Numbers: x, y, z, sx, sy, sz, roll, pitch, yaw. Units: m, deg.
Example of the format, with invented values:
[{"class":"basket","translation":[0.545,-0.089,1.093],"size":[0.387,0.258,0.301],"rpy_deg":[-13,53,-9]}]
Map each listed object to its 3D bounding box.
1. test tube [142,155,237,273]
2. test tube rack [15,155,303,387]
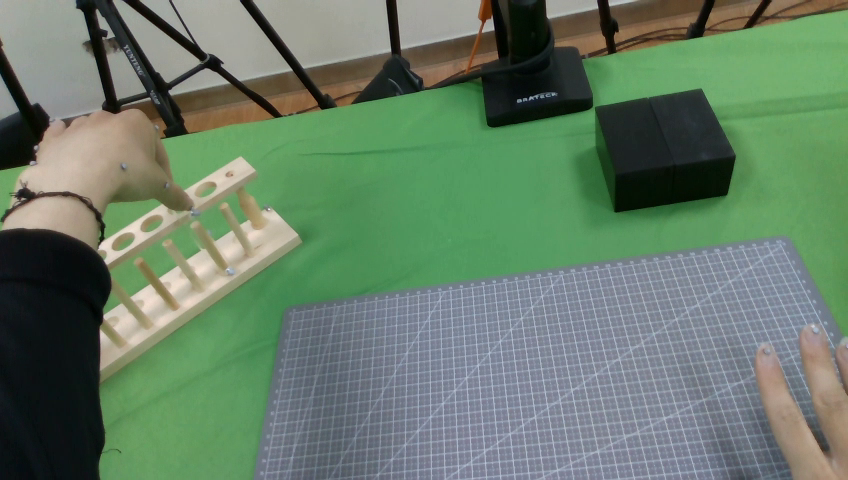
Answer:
[{"class":"test tube","translation":[-0.212,-0.019,0.558],"size":[0.017,0.152,0.017],"rpy_deg":[-9,48,10]},{"class":"test tube rack","translation":[-0.247,0.026,0.589],"size":[0.242,0.086,0.066],"rpy_deg":[-37,50,-17]}]
